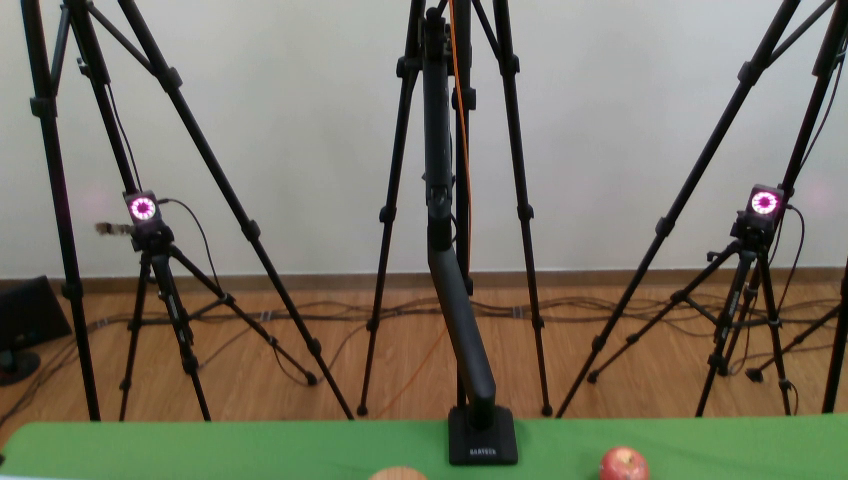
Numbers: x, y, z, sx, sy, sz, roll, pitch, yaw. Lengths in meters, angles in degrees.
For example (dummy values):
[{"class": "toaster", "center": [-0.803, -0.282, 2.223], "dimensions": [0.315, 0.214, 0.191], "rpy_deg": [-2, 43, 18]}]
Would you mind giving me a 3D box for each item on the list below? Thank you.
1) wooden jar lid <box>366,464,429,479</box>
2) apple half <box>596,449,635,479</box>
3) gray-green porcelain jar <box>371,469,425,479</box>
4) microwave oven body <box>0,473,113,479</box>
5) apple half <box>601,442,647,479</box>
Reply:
[{"class": "wooden jar lid", "center": [-0.039, 0.370, 0.862], "dimensions": [0.108, 0.021, 0.107], "rpy_deg": [-1, 33, 1]}, {"class": "apple half", "center": [0.303, 0.385, 0.982], "dimensions": [0.033, 0.082, 0.080], "rpy_deg": [-17, 38, -28]}, {"class": "gray-green porcelain jar", "center": [-0.038, 0.422, 0.898], "dimensions": [0.106, 0.127, 0.105], "rpy_deg": [-1, 35, 1]}, {"class": "microwave oven body", "center": [-0.528, 0.515, 0.654], "dimensions": [0.326, 0.262, 0.438], "rpy_deg": [2, 36, 4]}, {"class": "apple half", "center": [0.335, 0.374, 1.000], "dimensions": [0.053, 0.075, 0.080], "rpy_deg": [-16, 33, -29]}]
